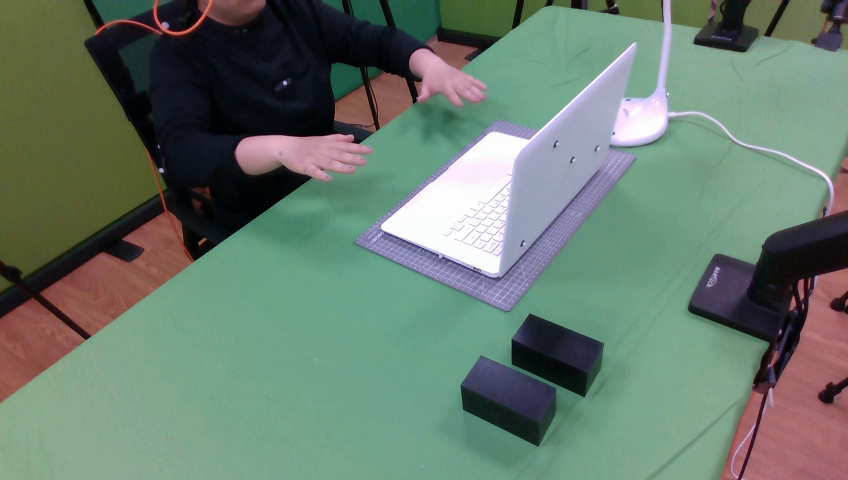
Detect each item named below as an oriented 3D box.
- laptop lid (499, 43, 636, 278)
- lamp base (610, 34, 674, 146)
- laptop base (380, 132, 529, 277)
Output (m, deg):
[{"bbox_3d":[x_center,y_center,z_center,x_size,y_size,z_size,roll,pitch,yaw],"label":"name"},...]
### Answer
[{"bbox_3d":[0.217,-0.122,0.898,0.013,0.242,0.358,28,50,25],"label":"laptop lid"},{"bbox_3d":[0.392,-0.291,1.129,0.180,0.181,0.159,-11,41,-8],"label":"lamp base"},{"bbox_3d":[0.122,-0.077,1.042,0.233,0.023,0.355,20,47,33],"label":"laptop base"}]
